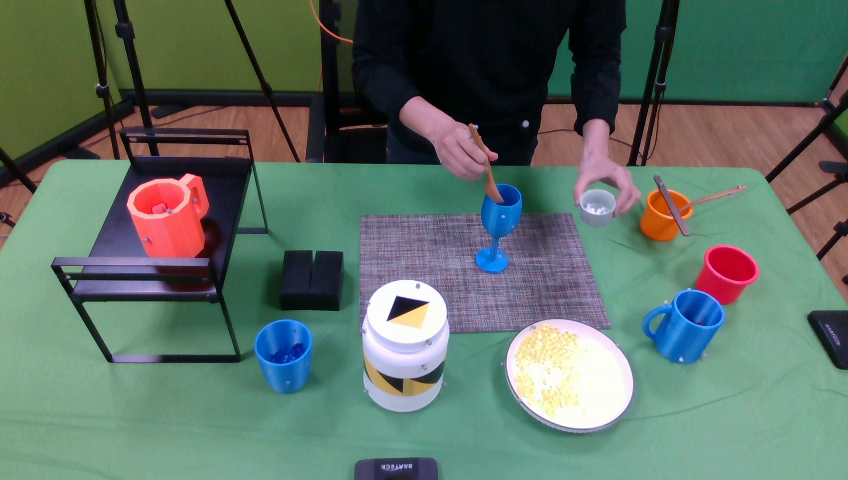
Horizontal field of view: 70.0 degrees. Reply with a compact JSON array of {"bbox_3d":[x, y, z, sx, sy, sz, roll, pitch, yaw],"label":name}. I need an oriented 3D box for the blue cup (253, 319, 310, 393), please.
[{"bbox_3d":[-0.217,0.187,0.943,0.093,0.101,0.092,4,45,-3],"label":"blue cup"}]

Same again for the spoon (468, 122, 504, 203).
[{"bbox_3d":[0.099,-0.123,0.983,0.021,0.195,0.041,-39,50,-13],"label":"spoon"}]

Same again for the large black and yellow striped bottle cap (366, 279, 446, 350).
[{"bbox_3d":[-0.025,0.104,0.864,0.115,0.019,0.114,3,48,-3],"label":"large black and yellow striped bottle cap"}]

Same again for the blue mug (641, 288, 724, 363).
[{"bbox_3d":[0.432,0.144,1.033,0.116,0.106,0.082,8,46,5],"label":"blue mug"}]

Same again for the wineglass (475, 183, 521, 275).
[{"bbox_3d":[0.134,-0.020,1.115,0.074,0.173,0.073,2,46,-2],"label":"wineglass"}]

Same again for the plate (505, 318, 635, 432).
[{"bbox_3d":[0.235,0.221,0.991,0.209,0.038,0.208,2,45,-2],"label":"plate"}]

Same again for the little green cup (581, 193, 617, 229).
[{"bbox_3d":[0.306,-0.051,1.070,0.061,0.039,0.061,-3,43,3],"label":"little green cup"}]

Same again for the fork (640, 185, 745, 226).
[{"bbox_3d":[0.534,-0.069,1.215,0.207,0.019,0.028,-26,27,33],"label":"fork"}]

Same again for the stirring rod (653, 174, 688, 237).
[{"bbox_3d":[0.491,-0.071,1.212,0.014,0.006,0.175,-1,47,-5],"label":"stirring rod"}]

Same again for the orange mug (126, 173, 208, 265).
[{"bbox_3d":[-0.371,-0.039,0.902,0.083,0.101,0.126,18,51,14],"label":"orange mug"}]

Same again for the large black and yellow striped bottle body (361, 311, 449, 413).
[{"bbox_3d":[-0.031,0.163,0.924,0.131,0.185,0.130,2,46,-2],"label":"large black and yellow striped bottle body"}]
